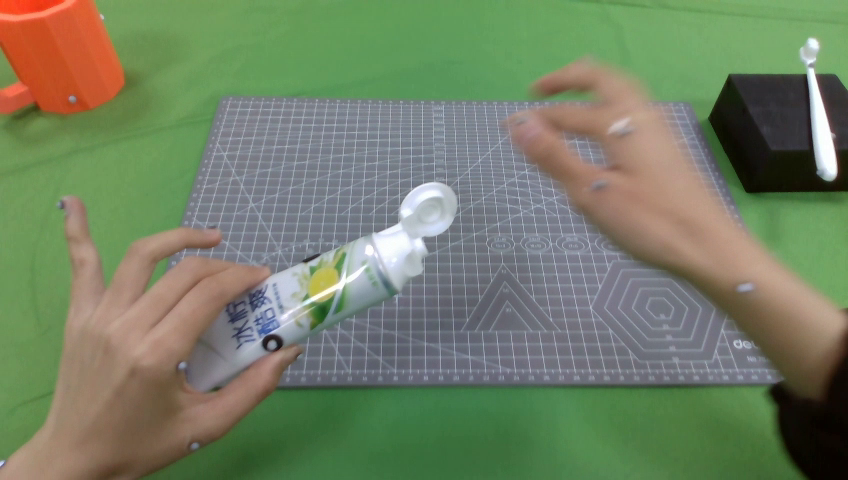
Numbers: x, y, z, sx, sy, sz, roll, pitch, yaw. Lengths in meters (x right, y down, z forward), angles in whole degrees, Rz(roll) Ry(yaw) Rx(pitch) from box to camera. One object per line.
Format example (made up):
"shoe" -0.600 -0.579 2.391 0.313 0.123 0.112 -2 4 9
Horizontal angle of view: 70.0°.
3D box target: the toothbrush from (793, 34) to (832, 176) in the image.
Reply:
"toothbrush" 0.328 -0.119 0.510 0.014 0.017 0.180 15 53 7

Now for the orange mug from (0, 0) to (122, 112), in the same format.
"orange mug" -0.346 -0.171 0.536 0.083 0.101 0.126 34 53 23

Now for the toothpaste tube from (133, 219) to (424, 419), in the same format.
"toothpaste tube" -0.076 0.034 0.320 0.165 0.035 0.054 -26 60 0

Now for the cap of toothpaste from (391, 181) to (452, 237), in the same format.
"cap of toothpaste" 0.000 -0.015 0.333 0.037 0.037 0.011 -17 35 -14
